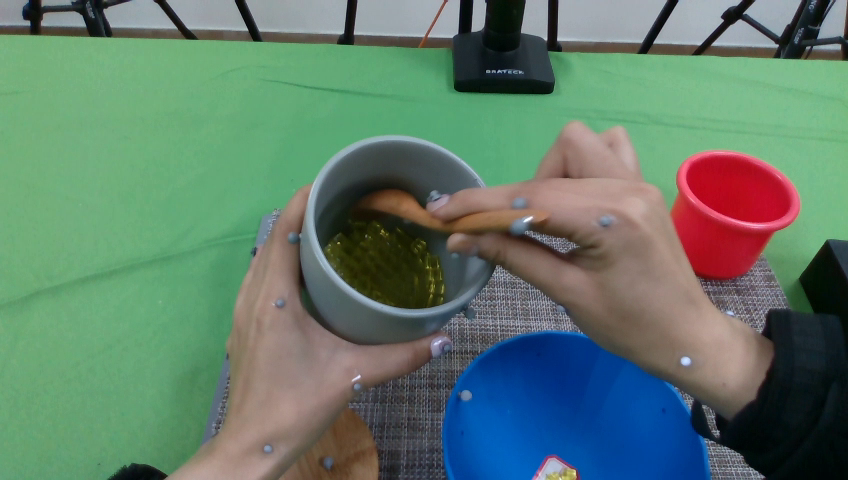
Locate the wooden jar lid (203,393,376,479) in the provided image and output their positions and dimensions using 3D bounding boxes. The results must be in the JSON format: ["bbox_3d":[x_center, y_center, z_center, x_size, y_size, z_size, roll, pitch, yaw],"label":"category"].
[{"bbox_3d":[-0.085,0.151,0.389,0.108,0.021,0.107,1,46,-1],"label":"wooden jar lid"}]

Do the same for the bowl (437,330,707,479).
[{"bbox_3d":[0.081,0.138,0.369,0.151,0.077,0.150,2,47,-1],"label":"bowl"}]

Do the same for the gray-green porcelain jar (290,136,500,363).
[{"bbox_3d":[-0.026,0.015,0.369,0.106,0.127,0.105,7,66,-14],"label":"gray-green porcelain jar"}]

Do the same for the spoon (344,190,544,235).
[{"bbox_3d":[0.003,-0.013,0.316,0.042,0.022,0.192,-5,9,-26],"label":"spoon"}]
